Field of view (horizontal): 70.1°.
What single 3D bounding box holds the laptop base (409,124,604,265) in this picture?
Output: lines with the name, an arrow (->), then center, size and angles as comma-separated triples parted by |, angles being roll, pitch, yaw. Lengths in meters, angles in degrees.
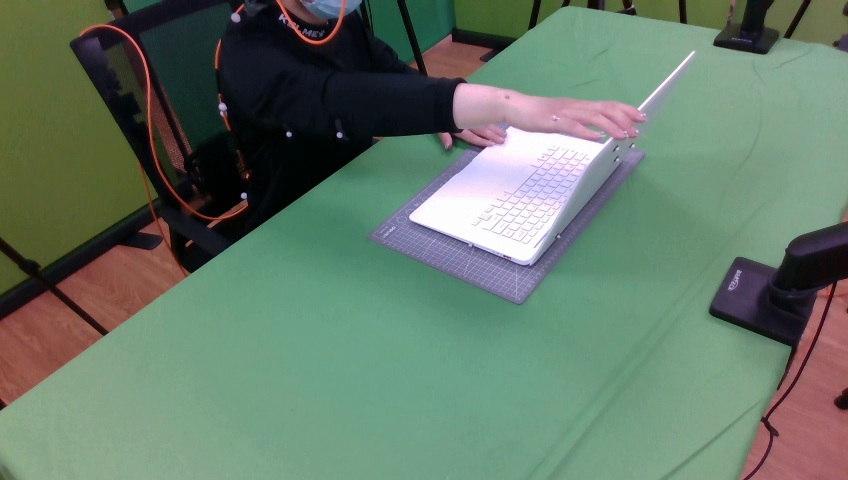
laptop base -> 0.168, -0.095, 1.057 | 0.233, 0.023, 0.355 | 20, 47, 32

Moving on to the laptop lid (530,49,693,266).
laptop lid -> 0.284, -0.125, 0.906 | 0.013, 0.242, 0.358 | 36, 53, 15
